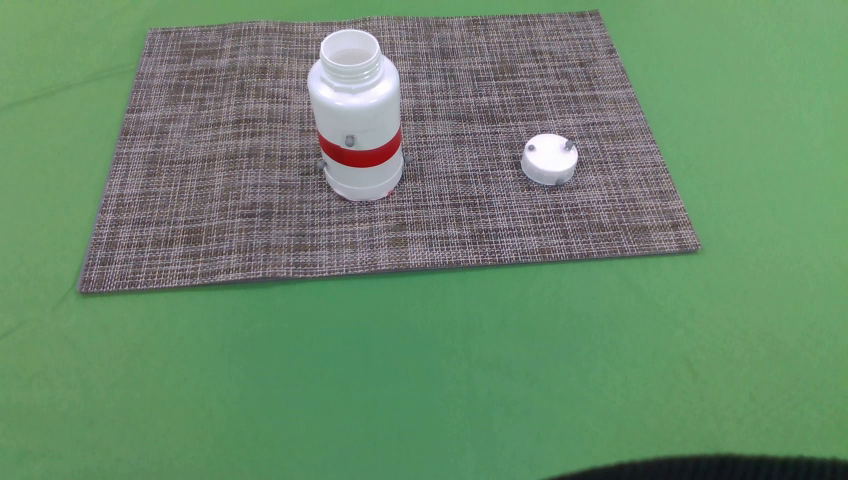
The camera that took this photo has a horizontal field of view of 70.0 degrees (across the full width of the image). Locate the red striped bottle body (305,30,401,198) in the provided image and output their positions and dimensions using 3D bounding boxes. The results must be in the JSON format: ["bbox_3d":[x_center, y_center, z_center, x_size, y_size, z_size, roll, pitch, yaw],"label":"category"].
[{"bbox_3d":[-0.050,-0.090,0.440,0.063,0.121,0.062,0,55,0],"label":"red striped bottle body"}]

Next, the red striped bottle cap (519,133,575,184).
[{"bbox_3d":[0.100,-0.067,0.493,0.044,0.018,0.044,1,51,-1],"label":"red striped bottle cap"}]
